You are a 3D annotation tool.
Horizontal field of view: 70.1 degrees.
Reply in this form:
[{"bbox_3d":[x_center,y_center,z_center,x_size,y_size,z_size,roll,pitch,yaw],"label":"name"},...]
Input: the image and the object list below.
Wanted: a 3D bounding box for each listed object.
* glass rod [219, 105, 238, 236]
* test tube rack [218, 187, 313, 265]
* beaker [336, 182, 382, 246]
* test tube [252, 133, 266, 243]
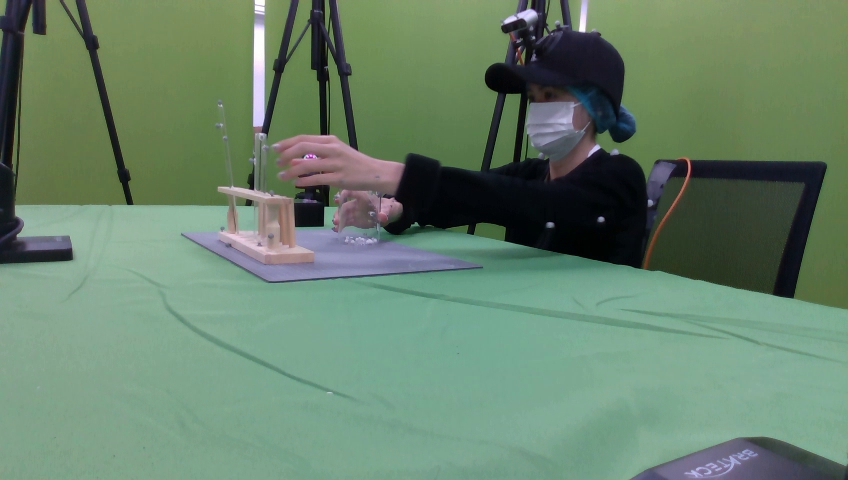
[{"bbox_3d":[-0.294,-0.100,0.907,0.008,0.199,0.008,-3,12,1],"label":"glass rod"},{"bbox_3d":[-0.235,-0.027,0.872,0.067,0.085,0.241,-2,8,-32],"label":"test tube rack"},{"bbox_3d":[-0.107,-0.043,0.996,0.074,0.100,0.083,-2,9,-29],"label":"beaker"},{"bbox_3d":[-0.225,-0.070,0.826,0.017,0.150,0.017,2,2,0],"label":"test tube"}]
